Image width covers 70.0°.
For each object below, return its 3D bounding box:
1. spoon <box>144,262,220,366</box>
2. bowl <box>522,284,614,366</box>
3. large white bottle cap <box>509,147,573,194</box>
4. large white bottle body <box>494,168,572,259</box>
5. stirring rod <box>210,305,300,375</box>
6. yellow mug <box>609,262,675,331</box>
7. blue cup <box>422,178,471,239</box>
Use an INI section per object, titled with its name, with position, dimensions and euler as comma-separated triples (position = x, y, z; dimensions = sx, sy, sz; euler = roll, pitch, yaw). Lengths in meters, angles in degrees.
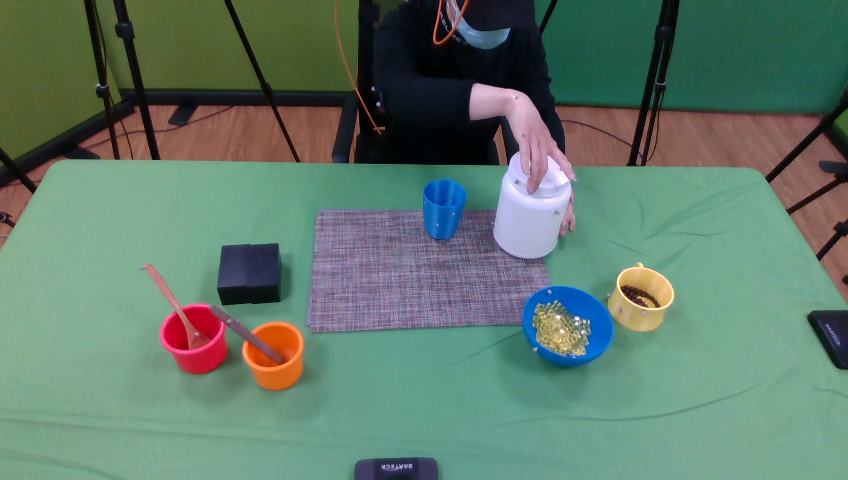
[spoon]
position = -0.389, 0.118, 0.970
dimensions = 0.041, 0.021, 0.194
euler = -34, 101, -33
[bowl]
position = 0.235, 0.158, 1.022
dimensions = 0.151, 0.077, 0.150
euler = 2, 46, -2
[large white bottle cap]
position = 0.212, -0.128, 1.098
dimensions = 0.115, 0.018, 0.114
euler = 2, 46, -2
[large white bottle body]
position = 0.208, -0.069, 1.159
dimensions = 0.131, 0.185, 0.130
euler = 2, 46, -1
[stirring rod]
position = -0.262, 0.158, 0.946
dimensions = 0.177, 0.006, 0.014
euler = 43, 43, -21
[yellow mug]
position = 0.393, 0.094, 1.103
dimensions = 0.100, 0.064, 0.130
euler = 7, 45, 4
[blue cup]
position = 0.035, -0.056, 1.192
dimensions = 0.093, 0.101, 0.092
euler = 3, 45, -3
